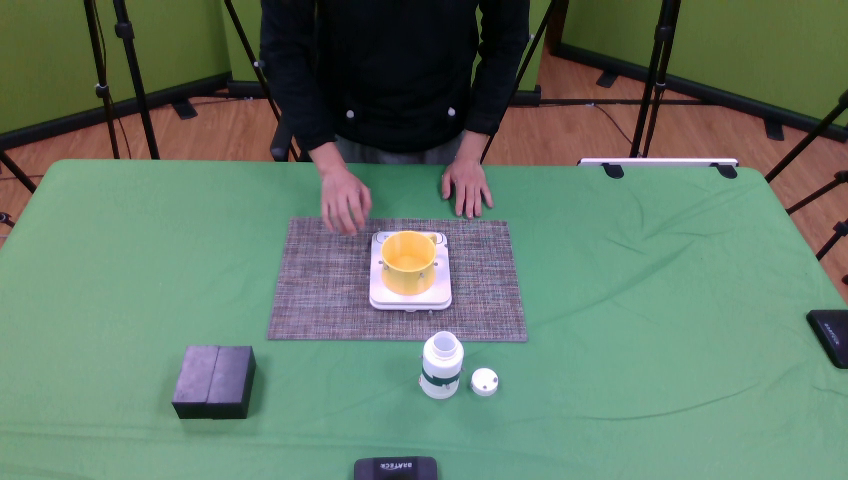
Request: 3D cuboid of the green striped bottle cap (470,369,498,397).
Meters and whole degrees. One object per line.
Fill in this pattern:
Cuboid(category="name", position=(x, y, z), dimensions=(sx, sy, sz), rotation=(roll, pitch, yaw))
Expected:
Cuboid(category="green striped bottle cap", position=(0.098, 0.232, 0.989), dimensions=(0.044, 0.020, 0.044), rotation=(2, 40, -1))

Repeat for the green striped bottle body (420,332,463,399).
Cuboid(category="green striped bottle body", position=(0.027, 0.193, 0.947), dimensions=(0.063, 0.120, 0.063), rotation=(2, 47, -2))

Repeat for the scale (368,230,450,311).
Cuboid(category="scale", position=(-0.029, 0.048, 1.137), dimensions=(0.149, 0.032, 0.199), rotation=(1, 46, -4))

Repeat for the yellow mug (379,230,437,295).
Cuboid(category="yellow mug", position=(-0.020, 0.030, 1.089), dimensions=(0.099, 0.064, 0.130), rotation=(31, 51, 24))
